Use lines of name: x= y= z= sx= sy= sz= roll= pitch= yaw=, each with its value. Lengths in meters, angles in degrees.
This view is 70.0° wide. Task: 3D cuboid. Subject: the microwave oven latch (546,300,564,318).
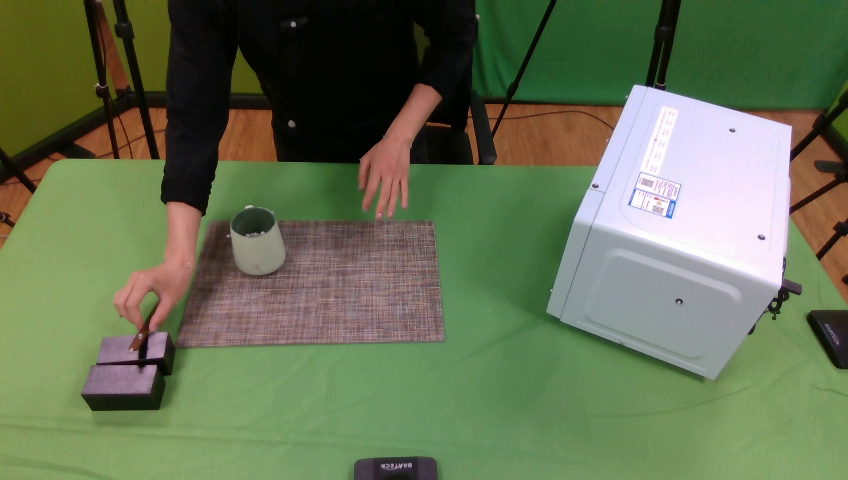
microwave oven latch: x=0.242 y=0.102 z=1.081 sx=0.030 sy=0.029 sz=0.079 roll=21 pitch=48 yaw=17

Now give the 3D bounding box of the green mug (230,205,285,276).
green mug: x=-0.311 y=-0.008 z=1.118 sx=0.092 sy=0.105 sz=0.124 roll=-14 pitch=48 yaw=-16

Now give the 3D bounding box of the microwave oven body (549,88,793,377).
microwave oven body: x=0.456 y=-0.028 z=1.087 sx=0.325 sy=0.261 sz=0.440 roll=20 pitch=47 yaw=16

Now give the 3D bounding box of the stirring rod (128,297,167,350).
stirring rod: x=-0.451 y=0.134 z=0.993 sx=0.014 sy=0.006 sz=0.175 roll=4 pitch=20 yaw=-9

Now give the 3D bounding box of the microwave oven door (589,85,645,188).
microwave oven door: x=0.342 y=-0.107 z=1.148 sx=0.039 sy=0.245 sz=0.354 roll=20 pitch=48 yaw=15
